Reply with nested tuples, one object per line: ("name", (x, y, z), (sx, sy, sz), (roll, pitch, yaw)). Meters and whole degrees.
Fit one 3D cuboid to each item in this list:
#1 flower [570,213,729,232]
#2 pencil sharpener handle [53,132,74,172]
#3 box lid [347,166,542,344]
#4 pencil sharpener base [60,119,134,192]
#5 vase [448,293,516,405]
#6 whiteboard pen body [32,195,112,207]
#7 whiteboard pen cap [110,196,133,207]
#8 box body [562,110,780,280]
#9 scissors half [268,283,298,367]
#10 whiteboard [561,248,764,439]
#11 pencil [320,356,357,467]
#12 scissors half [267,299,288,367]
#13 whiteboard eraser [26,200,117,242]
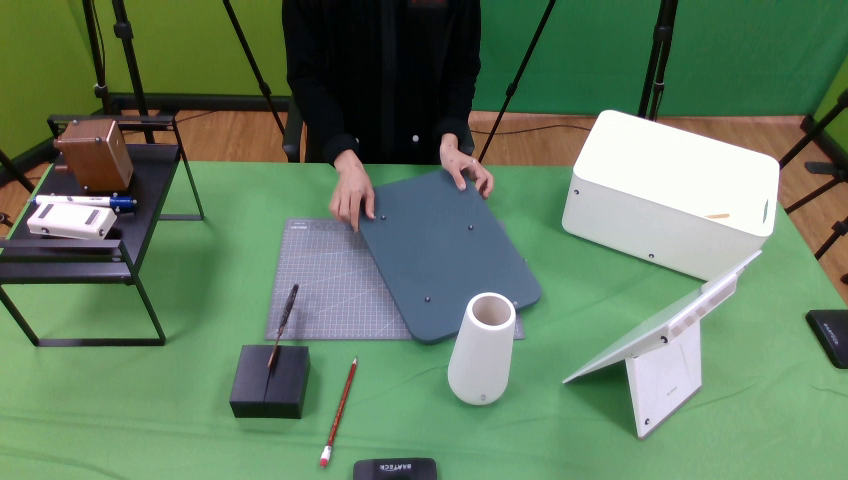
("flower", (0.479, -0.041, 1.268), (0.362, 0.038, 0.044), (-3, 17, -12))
("pencil sharpener handle", (-0.578, -0.138, 0.961), (0.031, 0.068, 0.036), (-4, 34, -7))
("box lid", (0.032, 0.012, 1.153), (0.263, 0.015, 0.369), (-18, 56, -18))
("pencil sharpener base", (-0.528, -0.135, 0.979), (0.077, 0.107, 0.061), (-4, 47, -7))
("vase", (0.091, 0.169, 0.921), (0.098, 0.201, 0.097), (3, 47, -3))
("whiteboard pen body", (-0.543, -0.061, 0.961), (0.141, 0.017, 0.017), (1, 46, -10))
("whiteboard pen cap", (-0.486, -0.061, 0.972), (0.033, 0.018, 0.018), (0, 47, -9))
("box body", (0.486, -0.089, 1.222), (0.363, 0.161, 0.253), (20, 48, 15))
("scissors half", (-0.230, 0.135, 0.986), (0.013, 0.040, 0.174), (19, 43, -11))
("whiteboard", (0.386, 0.176, 0.905), (0.217, 0.306, 0.143), (-26, 72, -27))
("pencil", (-0.130, 0.261, 0.946), (0.012, 0.012, 0.193), (10, 45, 5))
("scissors half", (-0.239, 0.150, 0.997), (0.013, 0.040, 0.174), (24, 24, -13))
("whiteboard eraser", (-0.532, -0.026, 0.919), (0.113, 0.042, 0.055), (7, 45, 3))
